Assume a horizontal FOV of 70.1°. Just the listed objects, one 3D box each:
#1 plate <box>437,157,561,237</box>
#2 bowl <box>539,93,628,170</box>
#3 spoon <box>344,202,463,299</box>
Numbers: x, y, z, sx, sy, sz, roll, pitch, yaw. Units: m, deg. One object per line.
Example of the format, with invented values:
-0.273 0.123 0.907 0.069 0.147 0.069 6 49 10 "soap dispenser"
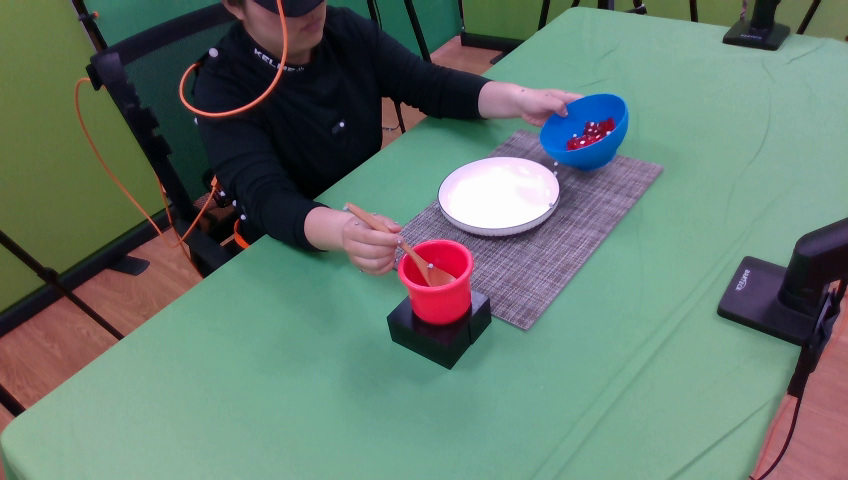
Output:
0.127 -0.070 1.024 0.207 0.039 0.206 -5 40 5 "plate"
0.281 -0.172 1.031 0.151 0.077 0.150 -22 37 18 "bowl"
-0.025 0.012 0.781 0.021 0.194 0.041 -34 20 43 "spoon"
